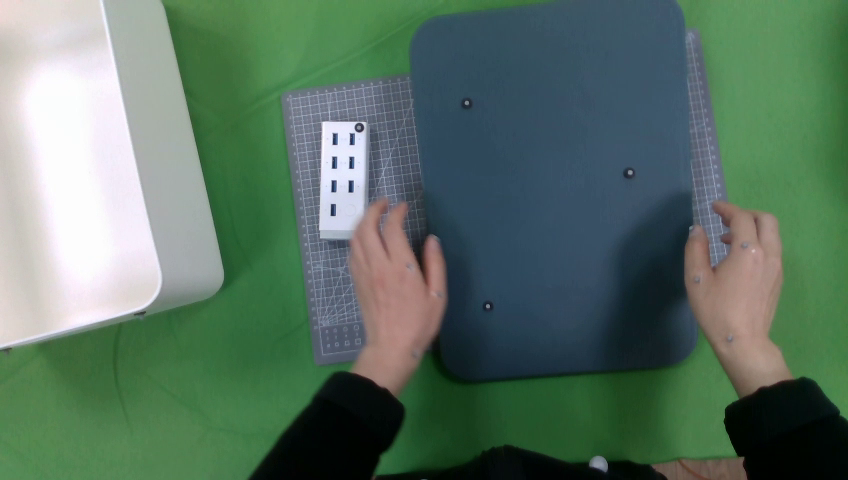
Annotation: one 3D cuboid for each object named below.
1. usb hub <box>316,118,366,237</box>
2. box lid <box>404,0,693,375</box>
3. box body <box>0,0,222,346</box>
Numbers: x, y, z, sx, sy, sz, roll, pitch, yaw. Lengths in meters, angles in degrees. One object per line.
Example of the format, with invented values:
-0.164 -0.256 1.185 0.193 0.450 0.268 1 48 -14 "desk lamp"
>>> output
-0.087 -0.067 0.643 0.049 0.025 0.125 1 88 3 "usb hub"
0.127 -0.046 0.602 0.263 0.015 0.372 -6 99 4 "box lid"
-0.374 -0.088 0.598 0.254 0.160 0.363 -15 86 3 "box body"
